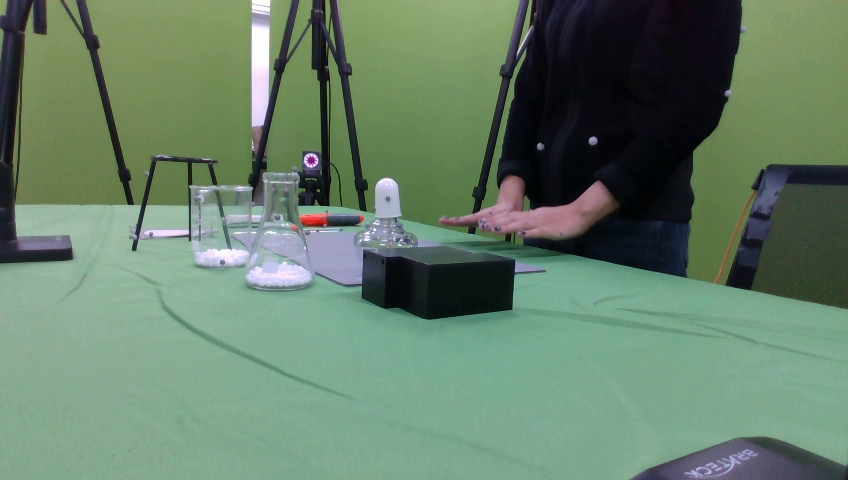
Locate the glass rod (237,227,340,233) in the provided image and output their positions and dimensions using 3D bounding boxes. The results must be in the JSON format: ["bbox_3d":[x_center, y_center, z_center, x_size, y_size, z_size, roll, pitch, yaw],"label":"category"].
[{"bbox_3d":[-0.247,-0.020,1.124,0.201,0.008,0.008,-2,8,-34],"label":"glass rod"}]

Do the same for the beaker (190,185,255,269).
[{"bbox_3d":[-0.253,-0.018,0.754,0.083,0.100,0.074,6,8,32],"label":"beaker"}]

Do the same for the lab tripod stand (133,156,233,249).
[{"bbox_3d":[-0.342,-0.054,0.878,0.148,0.131,0.148,4,6,0],"label":"lab tripod stand"}]

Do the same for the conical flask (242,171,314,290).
[{"bbox_3d":[-0.154,-0.011,0.643,0.075,0.122,0.075,2,7,0],"label":"conical flask"}]

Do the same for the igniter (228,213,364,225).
[{"bbox_3d":[-0.252,-0.043,1.227,0.278,0.025,0.057,-2,-2,-32],"label":"igniter"}]

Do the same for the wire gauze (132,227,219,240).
[{"bbox_3d":[-0.421,-0.014,1.024,0.122,0.011,0.124,-2,7,-34],"label":"wire gauze"}]

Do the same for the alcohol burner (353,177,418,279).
[{"bbox_3d":[-0.044,-0.014,0.710,0.078,0.119,0.078,4,9,0],"label":"alcohol burner"}]

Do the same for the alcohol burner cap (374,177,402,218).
[{"bbox_3d":[-0.044,-0.049,0.704,0.034,0.048,0.034,-4,9,1],"label":"alcohol burner cap"}]
